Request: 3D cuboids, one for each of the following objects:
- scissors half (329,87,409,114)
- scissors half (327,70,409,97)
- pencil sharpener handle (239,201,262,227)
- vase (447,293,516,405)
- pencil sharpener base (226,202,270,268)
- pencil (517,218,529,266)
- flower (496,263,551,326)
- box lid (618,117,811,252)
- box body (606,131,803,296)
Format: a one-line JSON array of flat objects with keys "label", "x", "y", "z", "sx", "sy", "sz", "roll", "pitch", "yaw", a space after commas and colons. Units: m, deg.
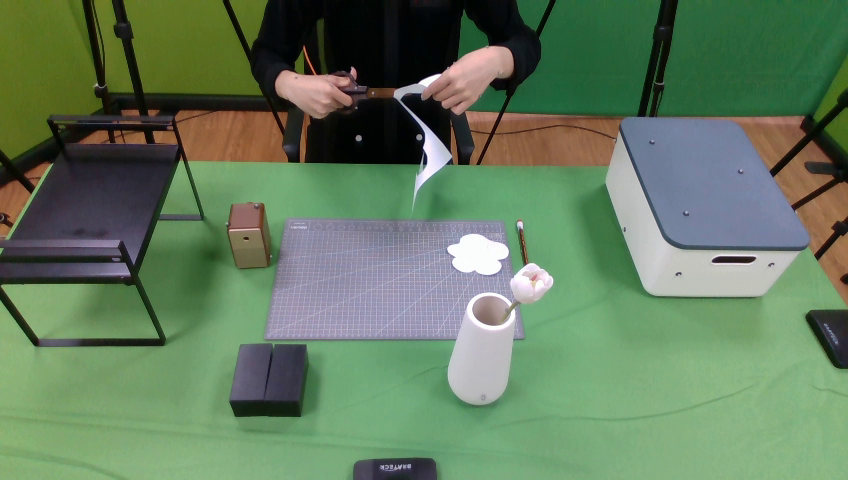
[{"label": "scissors half", "x": -0.100, "y": -0.256, "z": 1.091, "sx": 0.175, "sy": 0.040, "sz": 0.013, "roll": -4, "pitch": 16, "yaw": 32}, {"label": "scissors half", "x": -0.102, "y": -0.276, "z": 1.084, "sx": 0.174, "sy": 0.040, "sz": 0.013, "roll": 16, "pitch": 31, "yaw": 24}, {"label": "pencil sharpener handle", "x": -0.325, "y": -0.055, "z": 1.150, "sx": 0.036, "sy": 0.068, "sz": 0.030, "roll": -13, "pitch": 46, "yaw": 4}, {"label": "vase", "x": 0.091, "y": 0.169, "z": 0.921, "sx": 0.098, "sy": 0.201, "sz": 0.097, "roll": 3, "pitch": 47, "yaw": -3}, {"label": "pencil sharpener base", "x": -0.323, "y": -0.010, "z": 1.123, "sx": 0.061, "sy": 0.107, "sz": 0.076, "roll": -3, "pitch": 46, "yaw": -7}, {"label": "pencil", "x": 0.200, "y": 0.027, "z": 1.196, "sx": 0.012, "sy": 0.012, "sz": 0.193, "roll": 1, "pitch": 48, "yaw": -3}, {"label": "flower", "x": 0.102, "y": 0.120, "z": 0.853, "sx": 0.044, "sy": 0.363, "sz": 0.038, "roll": -2, "pitch": 64, "yaw": -10}, {"label": "box lid", "x": 0.534, "y": -0.117, "z": 1.149, "sx": 0.263, "sy": 0.015, "sz": 0.369, "roll": 0, "pitch": 47, "yaw": -3}, {"label": "box body", "x": 0.530, "y": -0.067, "z": 1.204, "sx": 0.254, "sy": 0.161, "sz": 0.361, "roll": 1, "pitch": 46, "yaw": -4}]
